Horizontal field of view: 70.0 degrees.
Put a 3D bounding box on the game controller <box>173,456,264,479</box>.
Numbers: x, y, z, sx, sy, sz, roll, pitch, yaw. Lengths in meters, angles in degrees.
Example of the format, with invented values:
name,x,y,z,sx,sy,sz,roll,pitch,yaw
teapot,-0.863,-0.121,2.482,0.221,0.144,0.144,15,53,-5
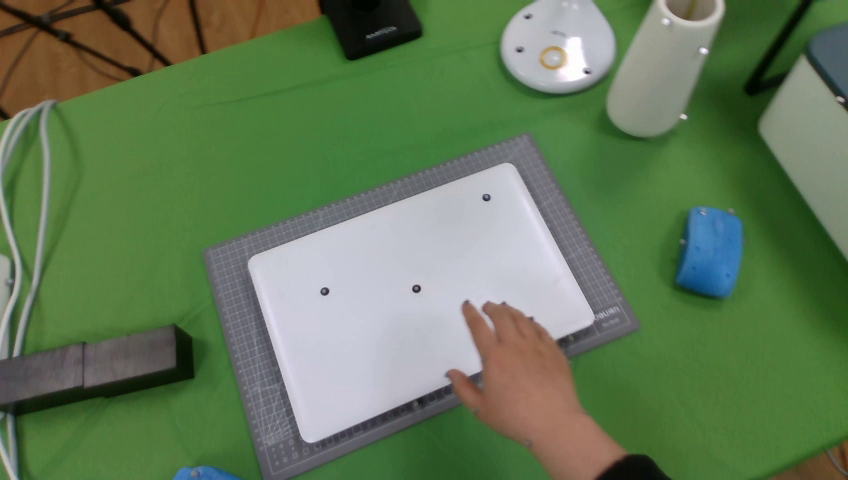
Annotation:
name,x,y,z,sx,sy,sz,roll,pitch,yaw
game controller,-0.236,0.293,0.606,0.096,0.052,0.154,26,69,16

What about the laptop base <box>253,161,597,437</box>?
name,x,y,z,sx,sy,sz,roll,pitch,yaw
laptop base,-0.004,0.057,0.716,0.354,0.023,0.233,-21,70,-7

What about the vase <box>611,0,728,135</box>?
name,x,y,z,sx,sy,sz,roll,pitch,yaw
vase,0.289,-0.214,0.726,0.098,0.201,0.097,-2,65,4

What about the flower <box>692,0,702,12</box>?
name,x,y,z,sx,sy,sz,roll,pitch,yaw
flower,0.298,-0.261,0.657,0.038,0.364,0.043,-27,57,-28

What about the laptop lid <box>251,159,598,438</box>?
name,x,y,z,sx,sy,sz,roll,pitch,yaw
laptop lid,-0.004,0.054,0.705,0.357,0.013,0.239,-19,69,-6

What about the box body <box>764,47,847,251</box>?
name,x,y,z,sx,sy,sz,roll,pitch,yaw
box body,0.600,-0.078,0.674,0.254,0.161,0.361,-19,67,-6

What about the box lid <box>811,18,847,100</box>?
name,x,y,z,sx,sy,sz,roll,pitch,yaw
box lid,0.596,-0.111,0.607,0.263,0.015,0.368,-18,66,-6

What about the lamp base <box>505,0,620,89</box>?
name,x,y,z,sx,sy,sz,roll,pitch,yaw
lamp base,0.193,-0.322,0.789,0.160,0.181,0.178,11,64,7

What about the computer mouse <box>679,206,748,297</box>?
name,x,y,z,sx,sy,sz,roll,pitch,yaw
computer mouse,0.343,0.009,0.713,0.062,0.041,0.116,18,63,13

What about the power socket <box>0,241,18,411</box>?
name,x,y,z,sx,sy,sz,roll,pitch,yaw
power socket,-0.520,0.102,0.708,0.072,0.033,0.224,-13,66,-4
